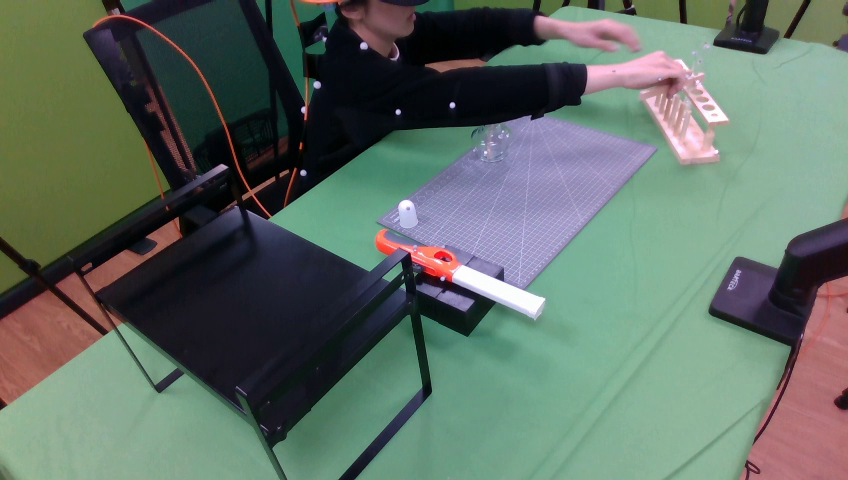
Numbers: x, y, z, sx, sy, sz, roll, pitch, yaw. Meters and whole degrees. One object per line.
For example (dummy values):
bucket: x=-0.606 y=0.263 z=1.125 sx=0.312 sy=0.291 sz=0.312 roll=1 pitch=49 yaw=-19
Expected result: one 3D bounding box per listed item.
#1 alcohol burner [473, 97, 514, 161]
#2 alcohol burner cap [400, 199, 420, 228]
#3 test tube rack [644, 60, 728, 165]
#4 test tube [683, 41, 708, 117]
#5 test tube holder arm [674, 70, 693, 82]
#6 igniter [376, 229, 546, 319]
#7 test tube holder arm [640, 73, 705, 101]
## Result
alcohol burner: x=0.128 y=-0.208 z=1.123 sx=0.078 sy=0.119 sz=0.077 roll=-5 pitch=39 yaw=4
alcohol burner cap: x=-0.025 y=-0.047 z=1.014 sx=0.034 sy=0.048 sz=0.033 roll=-4 pitch=42 yaw=4
test tube rack: x=0.486 y=-0.246 z=1.139 sx=0.067 sy=0.085 sz=0.241 roll=-5 pitch=41 yaw=4
test tube: x=0.499 y=-0.294 z=1.116 sx=0.017 sy=0.151 sz=0.017 roll=-3 pitch=42 yaw=4
test tube holder arm: x=0.466 y=-0.289 z=1.088 sx=0.010 sy=0.015 sz=0.088 roll=20 pitch=38 yaw=30
igniter: x=0.040 y=0.042 z=0.845 sx=0.274 sy=0.025 sz=0.057 roll=23 pitch=46 yaw=27
test tube holder arm: x=0.437 y=-0.270 z=1.059 sx=0.179 sy=0.015 sz=0.013 roll=-23 pitch=37 yaw=-31
